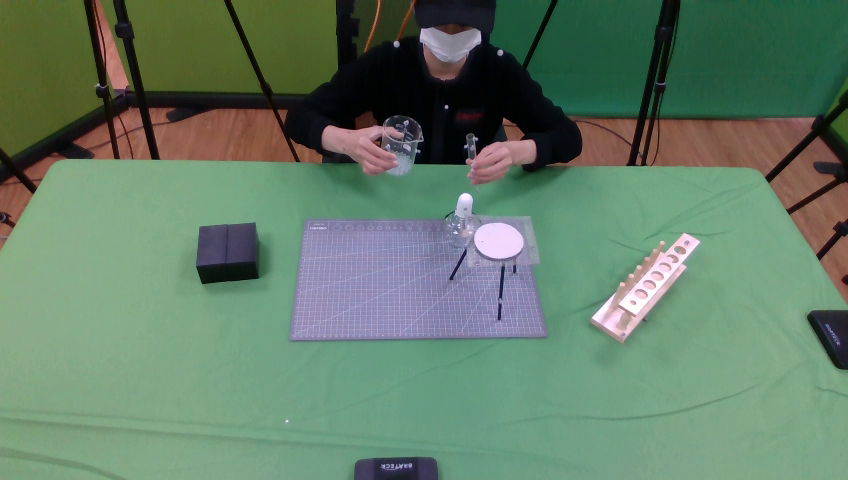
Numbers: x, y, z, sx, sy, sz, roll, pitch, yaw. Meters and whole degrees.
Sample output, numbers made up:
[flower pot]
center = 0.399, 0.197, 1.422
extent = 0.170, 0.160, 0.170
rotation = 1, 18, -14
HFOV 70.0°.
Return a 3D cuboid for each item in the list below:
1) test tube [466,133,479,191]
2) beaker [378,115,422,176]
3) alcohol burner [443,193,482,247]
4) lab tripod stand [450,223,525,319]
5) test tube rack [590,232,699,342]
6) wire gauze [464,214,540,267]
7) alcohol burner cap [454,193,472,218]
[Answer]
[test tube]
center = 0.095, -0.148, 1.175
extent = 0.017, 0.151, 0.017
rotation = -5, 53, 7
[beaker]
center = -0.049, -0.180, 1.178
extent = 0.084, 0.100, 0.073
rotation = 24, 53, 6
[alcohol burner]
center = 0.075, -0.044, 1.177
extent = 0.078, 0.120, 0.077
rotation = 1, 44, -1
[lab tripod stand]
center = 0.120, 0.046, 1.080
extent = 0.148, 0.132, 0.147
rotation = 1, 47, -1
[test tube rack]
center = 0.407, 0.074, 1.112
extent = 0.066, 0.085, 0.242
rotation = 35, 53, 26
[wire gauze]
center = 0.131, -0.002, 1.034
extent = 0.121, 0.011, 0.124
rotation = 1, 45, -2
[alcohol burner cap]
center = 0.076, -0.068, 1.151
extent = 0.034, 0.048, 0.033
rotation = 3, 46, -3
